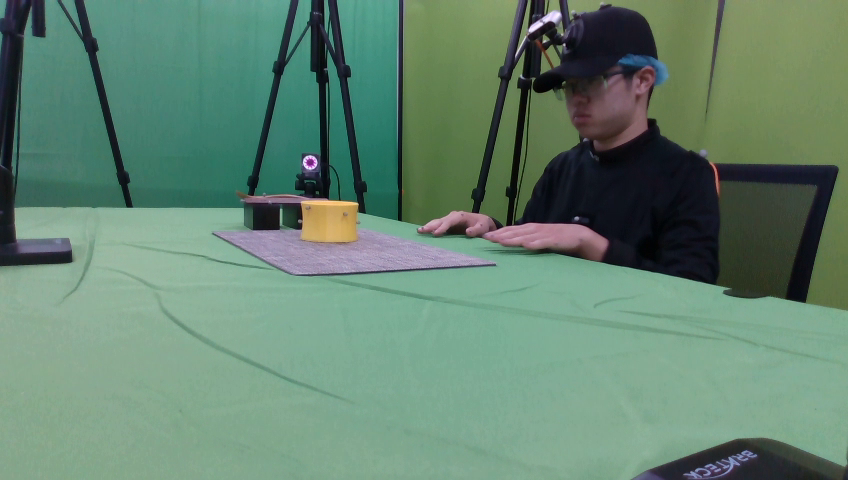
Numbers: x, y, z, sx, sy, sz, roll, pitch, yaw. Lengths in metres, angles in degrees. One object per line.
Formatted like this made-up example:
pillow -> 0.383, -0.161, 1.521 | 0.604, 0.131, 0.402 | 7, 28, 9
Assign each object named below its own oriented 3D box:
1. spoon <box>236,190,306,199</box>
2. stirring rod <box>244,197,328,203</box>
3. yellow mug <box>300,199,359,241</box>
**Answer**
spoon -> -0.290, -0.088, 1.248 | 0.195, 0.021, 0.041 | 0, 6, -32
stirring rod -> -0.271, -0.079, 1.201 | 0.177, 0.006, 0.014 | -2, 46, -36
yellow mug -> -0.157, -0.036, 1.060 | 0.099, 0.064, 0.131 | 6, 7, 27
